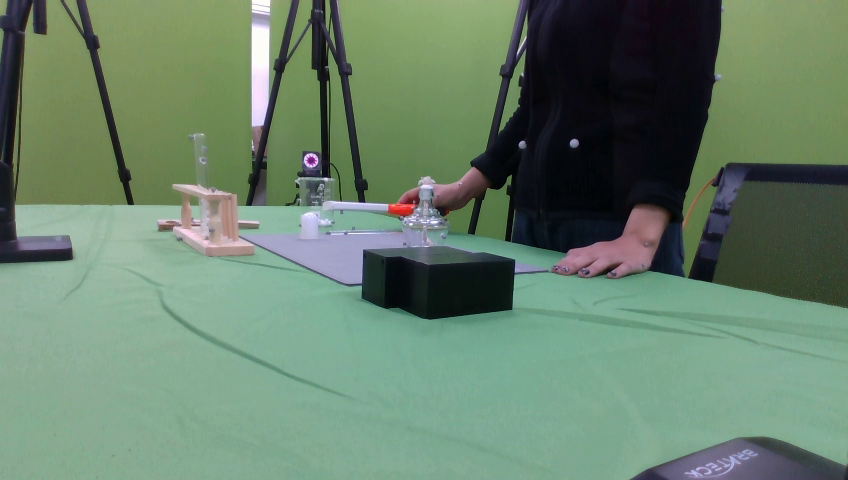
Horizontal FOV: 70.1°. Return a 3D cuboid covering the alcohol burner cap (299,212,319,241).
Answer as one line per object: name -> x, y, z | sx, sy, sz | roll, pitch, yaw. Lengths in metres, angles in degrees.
alcohol burner cap -> -0.195, -0.024, 1.025 | 0.034, 0.048, 0.034 | 3, 7, 0

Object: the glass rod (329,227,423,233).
glass rod -> -0.087, -0.019, 1.148 | 0.201, 0.008, 0.008 | -3, 8, -32

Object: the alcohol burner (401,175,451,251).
alcohol burner -> 0.003, -0.042, 0.947 | 0.078, 0.119, 0.078 | 1, 9, 0

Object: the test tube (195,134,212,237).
test tube -> -0.320, -0.079, 0.880 | 0.017, 0.150, 0.017 | -3, 3, 1

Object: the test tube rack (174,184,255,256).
test tube rack -> -0.327, -0.036, 0.928 | 0.067, 0.085, 0.241 | -2, 9, -32

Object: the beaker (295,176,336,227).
beaker -> -0.224, -0.080, 1.247 | 0.084, 0.100, 0.073 | -1, 8, -18

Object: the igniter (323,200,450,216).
igniter -> -0.069, -0.065, 1.217 | 0.278, 0.025, 0.057 | 1, -2, -33

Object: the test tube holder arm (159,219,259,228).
test tube holder arm -> -0.390, -0.030, 1.107 | 0.179, 0.015, 0.013 | -3, 44, -39

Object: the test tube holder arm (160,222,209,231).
test tube holder arm -> -0.423, -0.024, 1.075 | 0.088, 0.015, 0.010 | -3, 44, -38
